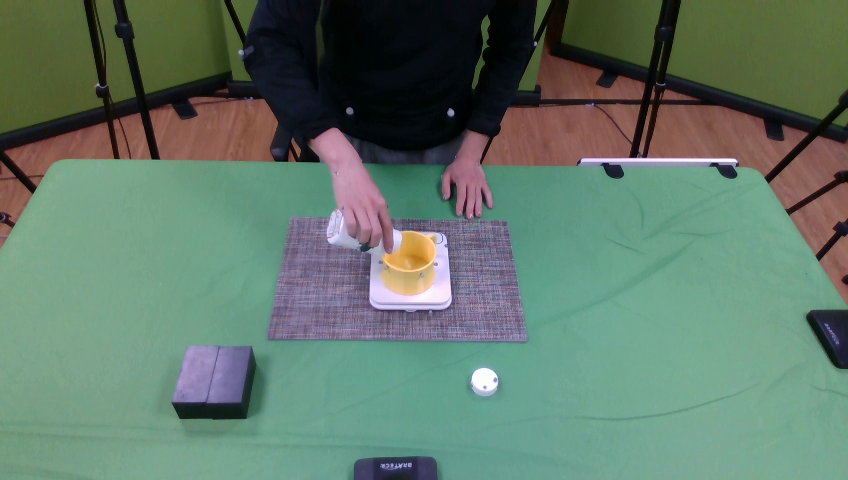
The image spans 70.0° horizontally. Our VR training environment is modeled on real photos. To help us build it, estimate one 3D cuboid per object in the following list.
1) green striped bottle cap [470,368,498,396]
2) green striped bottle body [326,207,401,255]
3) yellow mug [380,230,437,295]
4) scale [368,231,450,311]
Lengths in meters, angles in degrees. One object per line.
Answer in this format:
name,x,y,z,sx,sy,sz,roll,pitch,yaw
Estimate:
green striped bottle cap,0.098,0.231,0.989,0.044,0.020,0.044,2,43,-2
green striped bottle body,-0.100,-0.011,1.022,0.120,0.063,0.062,15,39,-30
yellow mug,-0.020,0.030,1.089,0.099,0.064,0.130,31,51,24
scale,-0.029,0.048,1.137,0.149,0.032,0.199,1,46,-4
